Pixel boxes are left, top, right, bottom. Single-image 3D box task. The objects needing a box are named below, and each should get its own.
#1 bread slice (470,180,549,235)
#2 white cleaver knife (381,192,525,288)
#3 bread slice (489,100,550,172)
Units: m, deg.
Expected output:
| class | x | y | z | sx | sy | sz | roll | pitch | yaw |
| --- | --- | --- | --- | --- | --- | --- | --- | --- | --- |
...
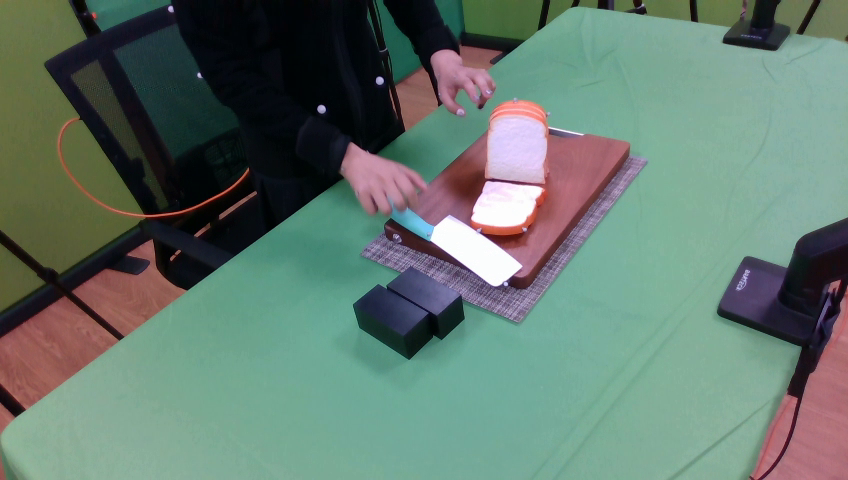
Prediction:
| class | x | y | z | sx | sy | sz | roll | pitch | yaw |
| --- | --- | --- | --- | --- | --- | --- | --- | --- | --- |
| bread slice | 0.130 | -0.055 | 0.974 | 0.106 | 0.018 | 0.134 | 9 | 40 | 24 |
| white cleaver knife | 0.036 | -0.009 | 0.949 | 0.066 | 0.021 | 0.284 | -39 | 53 | -23 |
| bread slice | 0.164 | -0.176 | 1.032 | 0.104 | 0.132 | 0.019 | 4 | 37 | 13 |
